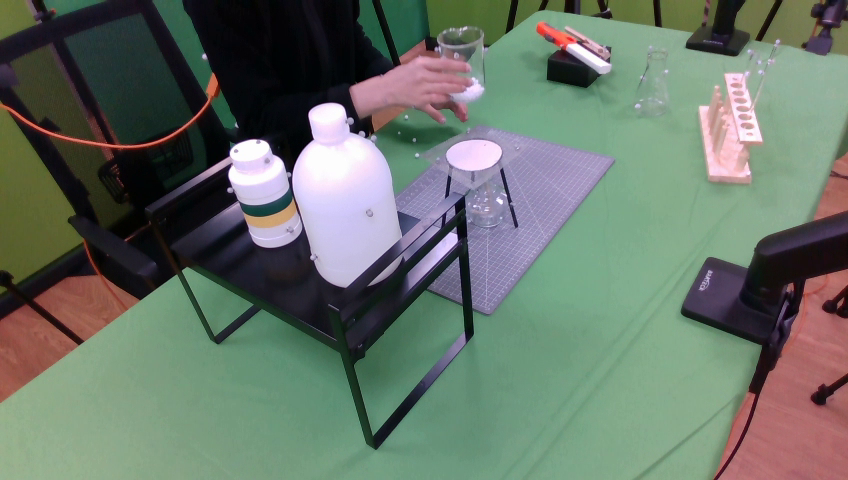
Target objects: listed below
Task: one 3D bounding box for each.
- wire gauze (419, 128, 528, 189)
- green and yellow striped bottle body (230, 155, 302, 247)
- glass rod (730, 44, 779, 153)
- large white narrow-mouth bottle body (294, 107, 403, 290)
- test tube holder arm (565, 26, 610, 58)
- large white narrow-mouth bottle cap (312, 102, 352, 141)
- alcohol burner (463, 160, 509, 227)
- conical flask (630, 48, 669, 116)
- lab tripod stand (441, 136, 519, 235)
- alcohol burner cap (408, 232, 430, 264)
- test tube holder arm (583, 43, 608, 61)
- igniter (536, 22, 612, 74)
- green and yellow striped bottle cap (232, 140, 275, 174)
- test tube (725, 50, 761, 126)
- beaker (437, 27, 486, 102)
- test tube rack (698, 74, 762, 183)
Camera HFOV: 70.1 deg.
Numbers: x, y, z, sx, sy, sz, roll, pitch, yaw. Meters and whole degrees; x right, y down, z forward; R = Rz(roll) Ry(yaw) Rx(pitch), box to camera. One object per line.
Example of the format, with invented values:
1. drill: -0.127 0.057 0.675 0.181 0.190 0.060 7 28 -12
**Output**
1. wire gauze: 0.075 -0.132 0.926 0.122 0.011 0.124 -34 47 -26
2. green and yellow striped bottle body: -0.188 -0.055 0.714 0.063 0.120 0.063 -4 41 4
3. glass rod: 0.555 -0.234 1.020 0.008 0.200 0.008 2 40 -1
4. large white narrow-mouth bottle body: -0.082 -0.047 0.634 0.102 0.195 0.101 -4 39 4
5. test tube holder arm: 0.369 -0.451 1.373 0.013 0.015 0.177 -39 41 10
6. large white narrow-mouth bottle cap: -0.089 -0.114 0.580 0.038 0.024 0.037 -4 39 3
7. alcohol burner: 0.102 -0.081 0.982 0.078 0.119 0.077 -4 43 4
8. conical flask: 0.456 -0.317 1.205 0.075 0.122 0.075 -4 41 4
9. lab tripod stand: 0.083 -0.086 0.976 0.148 0.132 0.147 -4 43 4
10. alcohol burner cap: -0.009 0.010 0.947 0.034 0.048 0.033 -4 40 4
11. test tube holder arm: 0.379 -0.420 1.341 0.010 0.015 0.087 -39 41 10
12. igniter: 0.330 -0.438 1.366 0.057 0.025 0.274 -11 41 -19
13. green and yellow striped bottle cap: -0.192 -0.094 0.680 0.045 0.020 0.045 -5 39 5
14. test tube: 0.570 -0.269 1.086 0.017 0.151 0.017 -1 45 1
15. beaker: 0.063 -0.284 0.979 0.074 0.101 0.083 -7 41 2
16. test tube rack: 0.547 -0.208 1.095 0.066 0.085 0.242 5 42 15
